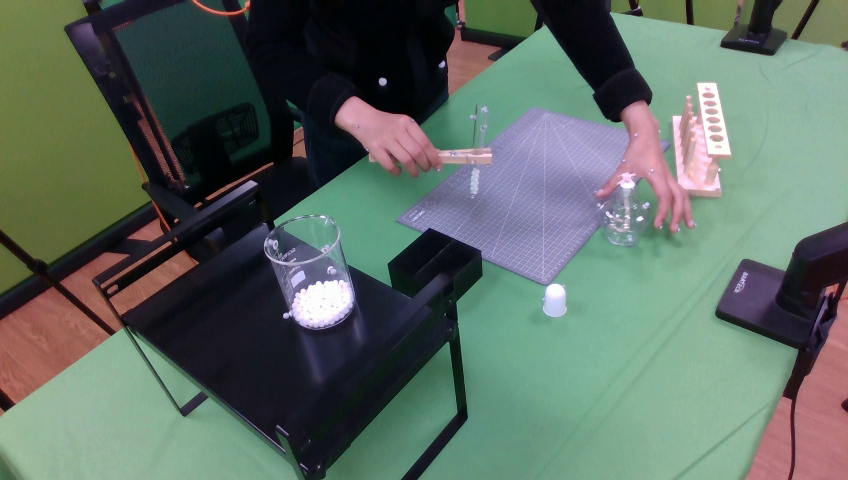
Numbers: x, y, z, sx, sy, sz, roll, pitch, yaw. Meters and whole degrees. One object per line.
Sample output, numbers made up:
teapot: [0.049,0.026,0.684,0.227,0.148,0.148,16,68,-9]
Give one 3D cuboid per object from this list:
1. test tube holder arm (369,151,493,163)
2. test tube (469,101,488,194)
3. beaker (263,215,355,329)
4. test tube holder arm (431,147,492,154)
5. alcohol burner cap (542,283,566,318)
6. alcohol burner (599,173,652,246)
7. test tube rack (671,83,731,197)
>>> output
test tube holder arm: [0.010,-0.120,0.874,0.178,0.015,0.013,0,36,2]
test tube: [0.078,-0.129,0.870,0.017,0.150,0.017,1,40,-1]
beaker: [-0.111,0.034,0.616,0.073,0.101,0.084,13,44,23]
test tube holder arm: [0.055,-0.125,0.878,0.088,0.015,0.010,-4,36,-3]
alcohol burner cap: [0.182,0.081,0.839,0.034,0.048,0.033,-3,40,3]
alcohol burner: [0.306,-0.050,0.917,0.078,0.120,0.077,-6,41,6]
test tube rack: [0.483,-0.184,1.067,0.066,0.085,0.242,5,42,15]
